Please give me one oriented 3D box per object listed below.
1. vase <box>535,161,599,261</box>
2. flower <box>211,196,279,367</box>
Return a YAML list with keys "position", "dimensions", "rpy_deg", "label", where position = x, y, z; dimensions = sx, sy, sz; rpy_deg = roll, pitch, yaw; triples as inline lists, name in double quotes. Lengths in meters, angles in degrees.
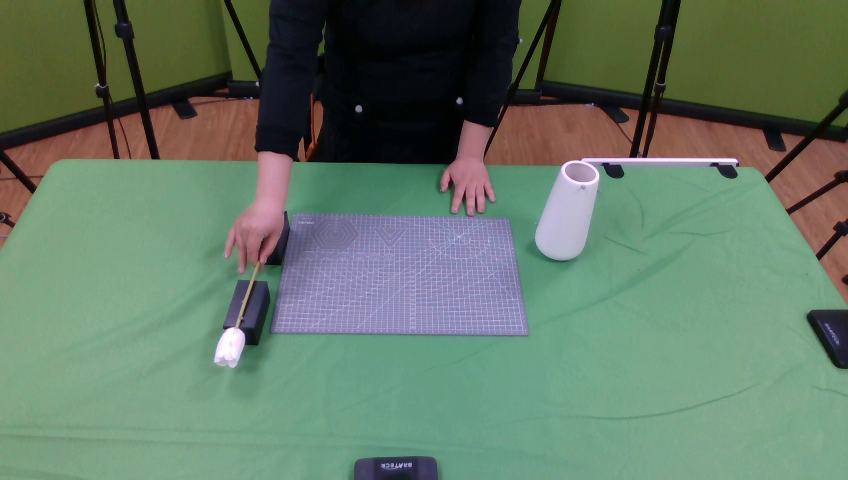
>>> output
- position: [0.271, -0.051, 1.145]
  dimensions: [0.098, 0.201, 0.097]
  rpy_deg: [1, 46, -1]
  label: "vase"
- position: [-0.298, 0.054, 1.052]
  dimensions: [0.044, 0.038, 0.359]
  rpy_deg: [-19, 44, 27]
  label: "flower"
